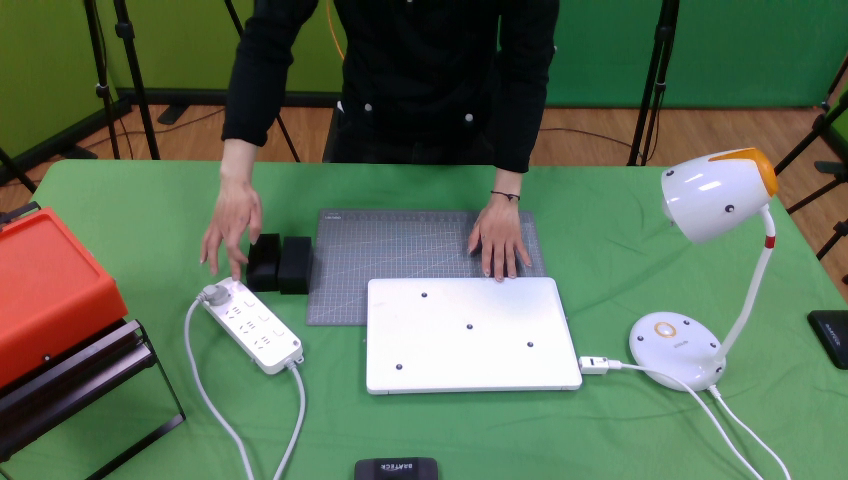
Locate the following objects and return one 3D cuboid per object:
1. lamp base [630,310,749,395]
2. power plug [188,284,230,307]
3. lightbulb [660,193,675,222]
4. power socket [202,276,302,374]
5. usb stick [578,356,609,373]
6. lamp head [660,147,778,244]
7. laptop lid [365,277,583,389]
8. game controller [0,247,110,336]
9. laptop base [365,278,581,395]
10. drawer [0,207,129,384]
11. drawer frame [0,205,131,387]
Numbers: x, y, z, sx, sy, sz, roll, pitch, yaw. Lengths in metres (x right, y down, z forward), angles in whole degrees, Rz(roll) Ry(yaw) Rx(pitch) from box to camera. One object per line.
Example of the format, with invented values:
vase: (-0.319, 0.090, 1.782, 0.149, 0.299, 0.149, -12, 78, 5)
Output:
lamp base: (0.447, 0.142, 0.984, 0.161, 0.181, 0.178, -24, 55, -24)
power plug: (-0.368, 0.100, 1.036, 0.072, 0.053, 0.035, -26, 53, -24)
lightbulb: (0.369, -0.060, 0.808, 0.060, 0.107, 0.059, 20, 58, -35)
power socket: (-0.296, 0.142, 1.034, 0.072, 0.033, 0.225, -34, 58, -31)
usb stick: (0.274, 0.207, 1.007, 0.059, 0.027, 0.021, -1, 52, 0)
lamp head: (0.389, -0.063, 0.785, 0.123, 0.113, 0.112, -21, 33, 37)
laptop lid: (0.077, 0.152, 1.046, 0.357, 0.013, 0.240, 1, 45, -3)
game controller: (-0.511, 0.063, 0.830, 0.097, 0.052, 0.154, -29, 57, -33)
laptop base: (0.077, 0.162, 1.053, 0.355, 0.023, 0.234, 0, 44, -4)
drawer: (-0.539, 0.074, 0.798, 0.193, 0.073, 0.211, 37, 55, 27)
drawer frame: (-0.540, 0.075, 0.795, 0.200, 0.083, 0.213, 36, 54, 26)
